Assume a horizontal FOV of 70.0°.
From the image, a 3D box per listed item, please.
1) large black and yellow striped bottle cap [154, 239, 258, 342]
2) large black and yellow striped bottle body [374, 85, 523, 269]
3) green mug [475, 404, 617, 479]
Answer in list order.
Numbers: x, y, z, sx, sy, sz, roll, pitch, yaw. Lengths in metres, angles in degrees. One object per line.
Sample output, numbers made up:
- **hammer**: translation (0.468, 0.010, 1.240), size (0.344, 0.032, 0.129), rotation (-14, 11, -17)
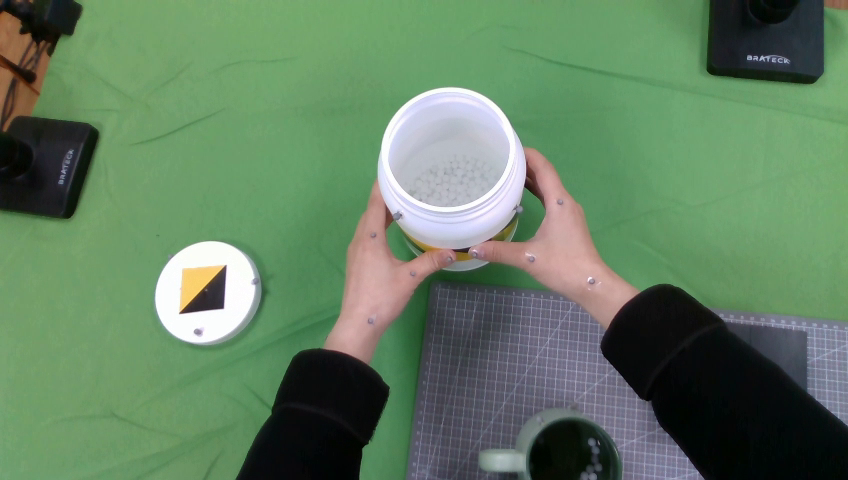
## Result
- **large black and yellow striped bottle cap**: translation (-0.243, 0.055, 0.673), size (0.115, 0.019, 0.114), rotation (-1, 75, 5)
- **large black and yellow striped bottle body**: translation (0.025, -0.053, 0.570), size (0.130, 0.185, 0.130), rotation (-1, 76, 5)
- **green mug**: translation (0.110, 0.198, 0.554), size (0.125, 0.105, 0.092), rotation (-3, 75, 6)
